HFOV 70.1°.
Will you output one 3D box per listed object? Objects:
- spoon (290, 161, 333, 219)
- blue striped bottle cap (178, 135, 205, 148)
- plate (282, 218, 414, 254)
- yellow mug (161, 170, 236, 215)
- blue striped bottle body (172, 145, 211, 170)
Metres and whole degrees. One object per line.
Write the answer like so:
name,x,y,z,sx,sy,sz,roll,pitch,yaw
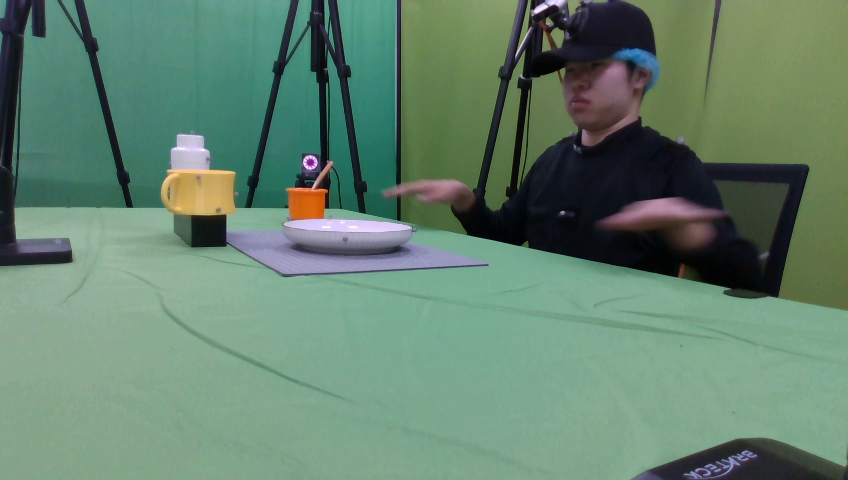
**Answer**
spoon,-0.251,-0.117,1.381,0.041,0.193,0.022,5,-37,26
blue striped bottle cap,-0.405,-0.171,1.053,0.044,0.020,0.044,3,10,0
plate,-0.121,-0.007,0.971,0.208,0.039,0.207,2,7,0
yellow mug,-0.354,-0.074,0.935,0.099,0.064,0.131,5,9,21
blue striped bottle body,-0.407,-0.120,1.059,0.063,0.120,0.063,3,8,0
